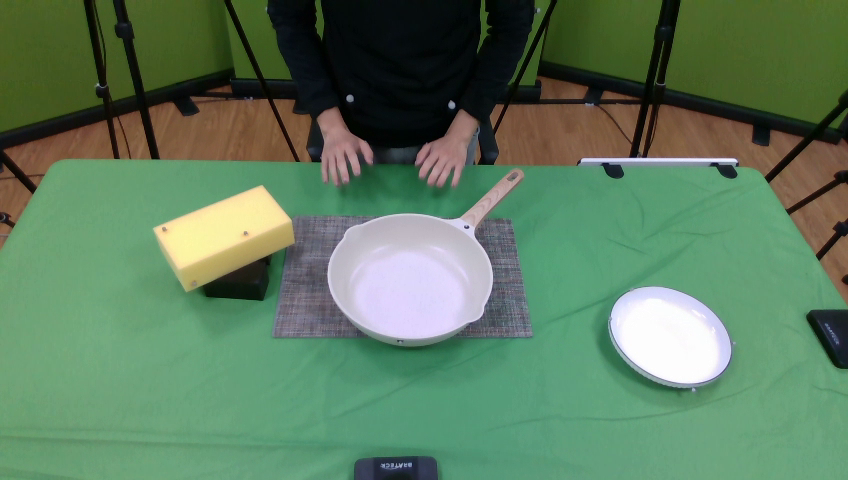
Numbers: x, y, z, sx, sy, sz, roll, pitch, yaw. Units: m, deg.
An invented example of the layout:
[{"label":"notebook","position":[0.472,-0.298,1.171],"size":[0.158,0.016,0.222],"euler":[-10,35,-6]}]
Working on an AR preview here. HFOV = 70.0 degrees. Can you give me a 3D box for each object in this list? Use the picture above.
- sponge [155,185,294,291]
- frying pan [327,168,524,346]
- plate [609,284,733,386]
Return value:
[{"label":"sponge","position":[-0.353,-0.008,1.085],"size":[0.207,0.061,0.117],"euler":[-28,54,-27]},{"label":"frying pan","position":[0.042,0.009,1.132],"size":[0.305,0.103,0.487],"euler":[34,61,24]},{"label":"plate","position":[0.425,0.167,1.059],"size":[0.208,0.039,0.206],"euler":[2,46,-2]}]
